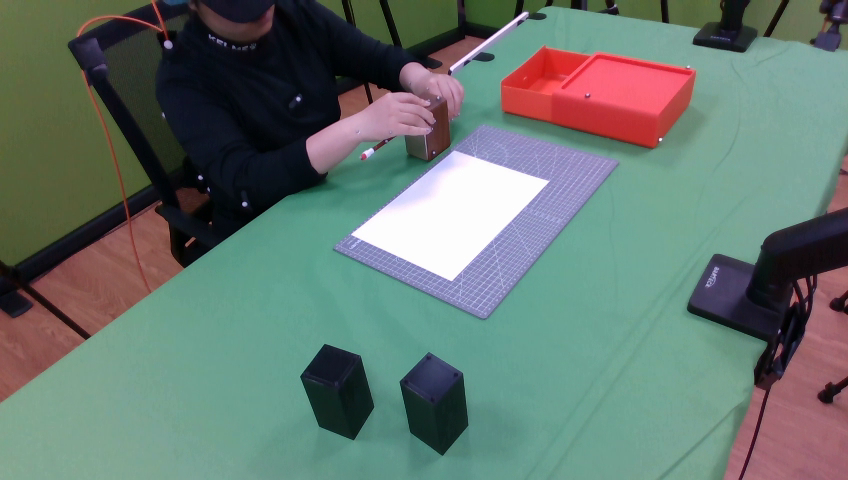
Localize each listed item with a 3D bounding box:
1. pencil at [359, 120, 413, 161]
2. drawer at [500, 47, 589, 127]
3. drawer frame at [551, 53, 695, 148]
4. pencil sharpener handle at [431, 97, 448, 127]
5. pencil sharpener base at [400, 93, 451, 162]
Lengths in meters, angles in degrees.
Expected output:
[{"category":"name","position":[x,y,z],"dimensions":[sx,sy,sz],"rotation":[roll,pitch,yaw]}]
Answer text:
[{"category":"pencil","position":[-0.051,-0.194,1.098],"dimensions":[0.012,0.012,0.194],"rotation":[23,50,31]},{"category":"drawer","position":[0.296,-0.316,1.255],"dimensions":[0.210,0.073,0.195],"rotation":[22,47,29]},{"category":"drawer frame","position":[0.391,-0.281,1.196],"dimensions":[0.212,0.083,0.202],"rotation":[22,48,29]},{"category":"pencil sharpener handle","position":[0.035,-0.255,1.181],"dimensions":[0.036,0.068,0.031],"rotation":[33,54,23]},{"category":"pencil sharpener base","position":[0.006,-0.216,1.159],"dimensions":[0.061,0.107,0.077],"rotation":[25,49,33]}]
